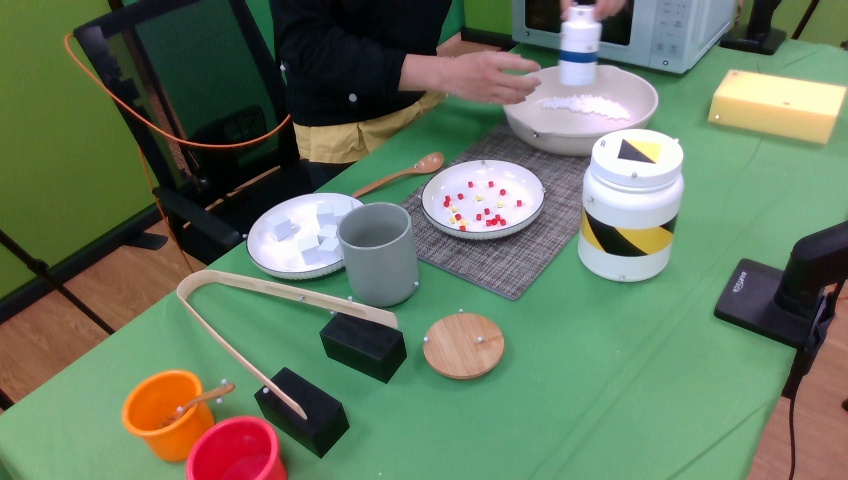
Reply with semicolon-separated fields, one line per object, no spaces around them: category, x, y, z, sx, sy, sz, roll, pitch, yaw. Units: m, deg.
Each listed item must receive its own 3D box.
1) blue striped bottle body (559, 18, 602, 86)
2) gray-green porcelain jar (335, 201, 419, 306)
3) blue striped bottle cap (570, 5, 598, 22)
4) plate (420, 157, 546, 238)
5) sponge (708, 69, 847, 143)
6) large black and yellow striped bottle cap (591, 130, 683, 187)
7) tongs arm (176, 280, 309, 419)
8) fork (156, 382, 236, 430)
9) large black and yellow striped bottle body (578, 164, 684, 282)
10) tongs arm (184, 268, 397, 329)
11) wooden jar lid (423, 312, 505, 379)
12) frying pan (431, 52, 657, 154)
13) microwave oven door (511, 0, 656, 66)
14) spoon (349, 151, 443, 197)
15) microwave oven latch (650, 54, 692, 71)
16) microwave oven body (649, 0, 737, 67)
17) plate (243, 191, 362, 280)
blue striped bottle body;0.261;-0.324;1.008;0.063;0.121;0.063;-1;30;1
gray-green porcelain jar;-0.064;0.024;0.872;0.106;0.127;0.105;-4;41;4
blue striped bottle cap;0.260;-0.368;0.981;0.044;0.021;0.044;-3;28;2
plate;0.099;-0.067;1.017;0.209;0.038;0.208;-4;40;4
sponge;0.663;-0.256;1.142;0.205;0.061;0.118;18;47;28
large black and yellow striped bottle cap;0.282;-0.111;0.803;0.115;0.019;0.114;-3;41;3
tongs arm;-0.254;0.133;0.801;0.028;0.028;0.384;-41;41;-23
fork;-0.262;0.189;0.690;0.018;0.206;0.028;49;43;-7
large black and yellow striped bottle body;0.292;-0.046;0.859;0.131;0.185;0.130;-4;41;4
tongs arm;-0.202;0.084;0.848;0.382;0.027;0.051;11;45;35
wooden jar lid;0.053;0.142;0.800;0.108;0.021;0.108;-5;39;4
frying pan;0.215;-0.302;1.224;0.484;0.103;0.308;29;50;24
microwave oven door;0.351;-0.540;1.350;0.353;0.245;0.039;24;50;31
spoon;-0.051;-0.122;1.120;0.194;0.022;0.041;-22;60;-18
microwave oven latch;0.531;-0.386;1.301;0.078;0.029;0.030;25;51;33
microwave oven body;0.475;-0.602;1.411;0.438;0.261;0.327;23;50;32
plate;-0.188;-0.005;0.992;0.207;0.039;0.206;-3;40;3
